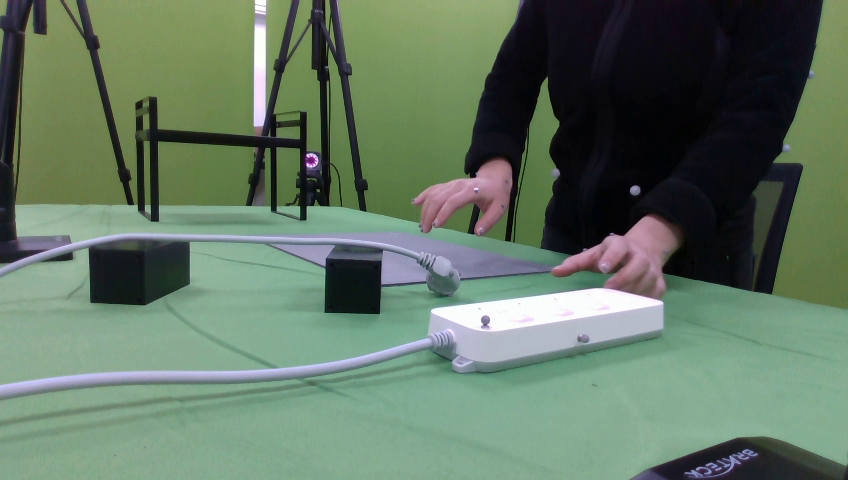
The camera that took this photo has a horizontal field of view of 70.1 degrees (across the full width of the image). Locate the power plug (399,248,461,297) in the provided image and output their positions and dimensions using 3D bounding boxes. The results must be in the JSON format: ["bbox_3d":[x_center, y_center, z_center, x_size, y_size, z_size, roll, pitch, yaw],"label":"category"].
[{"bbox_3d":[0.007,0.031,0.634,0.072,0.035,0.052,37,-33,4],"label":"power plug"}]

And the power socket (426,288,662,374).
[{"bbox_3d":[0.102,0.066,0.482,0.228,0.032,0.072,-3,8,-35],"label":"power socket"}]
